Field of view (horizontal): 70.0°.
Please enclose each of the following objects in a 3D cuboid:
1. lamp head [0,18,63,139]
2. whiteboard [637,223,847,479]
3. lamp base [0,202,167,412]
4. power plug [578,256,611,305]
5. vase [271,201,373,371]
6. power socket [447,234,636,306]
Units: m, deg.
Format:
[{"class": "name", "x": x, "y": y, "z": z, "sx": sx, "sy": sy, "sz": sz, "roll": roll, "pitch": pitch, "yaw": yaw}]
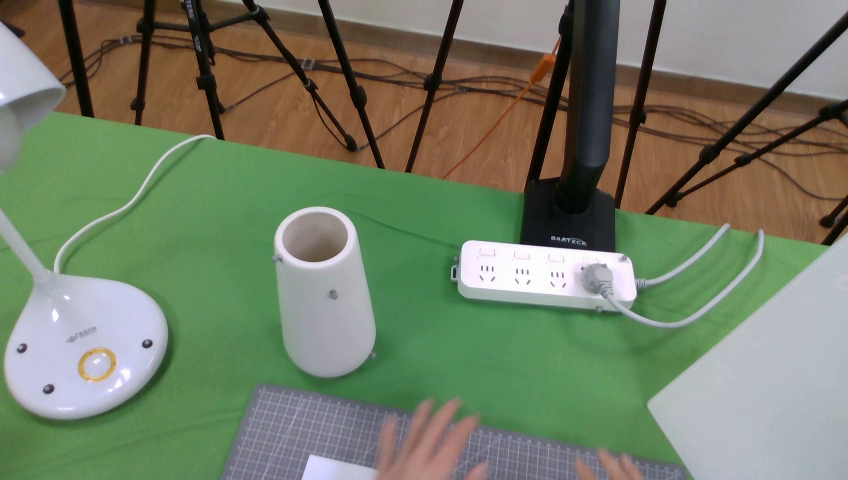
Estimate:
[{"class": "lamp head", "x": -0.298, "y": -0.108, "z": 0.348, "sx": 0.112, "sy": 0.112, "sz": 0.123, "roll": -46, "pitch": 107, "yaw": -31}, {"class": "whiteboard", "x": 0.387, "y": 0.146, "z": 0.537, "sx": 0.144, "sy": 0.307, "sz": 0.215, "roll": -5, "pitch": 51, "yaw": -31}, {"class": "lamp base", "x": -0.362, "y": 0.052, "z": 0.585, "sx": 0.177, "sy": 0.182, "sz": 0.160, "roll": 38, "pitch": 59, "yaw": 25}, {"class": "power plug", "x": 0.193, "y": 0.050, "z": 0.695, "sx": 0.035, "sy": 0.053, "sz": 0.072, "roll": 13, "pitch": 56, "yaw": 6}, {"class": "vase", "x": -0.102, "y": 0.050, "z": 0.597, "sx": 0.098, "sy": 0.201, "sz": 0.097, "roll": 1, "pitch": 53, "yaw": -2}, {"class": "power socket", "x": 0.142, "y": 0.036, "z": 0.730, "sx": 0.227, "sy": 0.033, "sz": 0.071, "roll": 6, "pitch": 54, "yaw": -1}]
